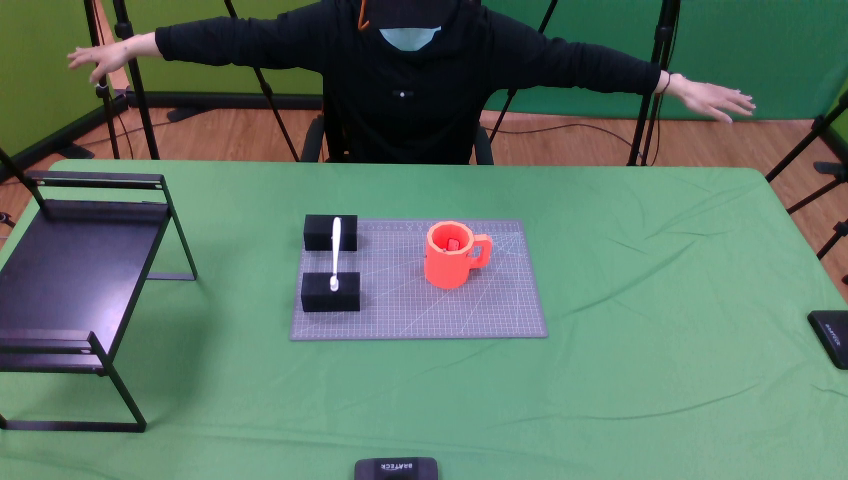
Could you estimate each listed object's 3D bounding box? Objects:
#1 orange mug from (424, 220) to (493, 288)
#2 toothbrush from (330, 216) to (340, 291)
[{"bbox_3d":[0.064,0.023,1.119,0.126,0.101,0.083,-9,47,-7],"label":"orange mug"},{"bbox_3d":[-0.160,0.019,1.094,0.014,0.017,0.180,-11,45,6],"label":"toothbrush"}]
